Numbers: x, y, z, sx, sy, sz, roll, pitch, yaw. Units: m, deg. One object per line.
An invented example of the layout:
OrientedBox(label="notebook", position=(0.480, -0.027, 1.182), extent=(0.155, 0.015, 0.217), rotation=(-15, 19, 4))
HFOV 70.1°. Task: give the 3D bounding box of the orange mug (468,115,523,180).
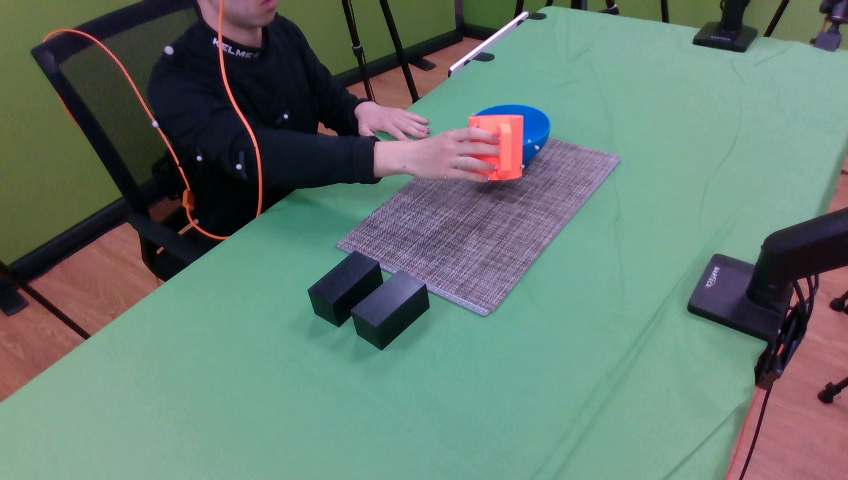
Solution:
OrientedBox(label="orange mug", position=(0.116, -0.146, 0.946), extent=(0.084, 0.101, 0.126), rotation=(-3, 10, -6))

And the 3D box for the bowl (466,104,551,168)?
OrientedBox(label="bowl", position=(0.155, -0.177, 1.105), extent=(0.151, 0.077, 0.150), rotation=(-4, 40, 3))
